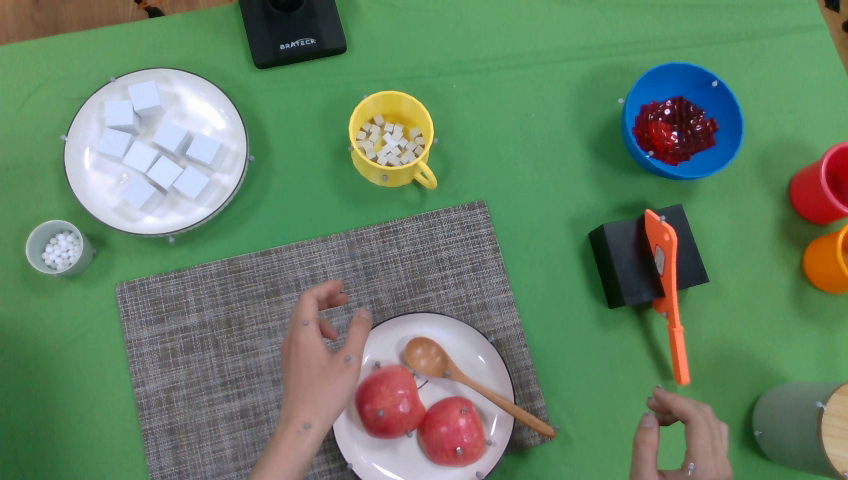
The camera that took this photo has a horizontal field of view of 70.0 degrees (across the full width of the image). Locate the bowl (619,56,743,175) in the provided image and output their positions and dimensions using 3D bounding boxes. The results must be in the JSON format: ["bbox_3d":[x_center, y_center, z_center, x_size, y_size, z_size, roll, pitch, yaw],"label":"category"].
[{"bbox_3d":[0.310,-0.146,0.768,0.151,0.077,0.150,1,79,-5],"label":"bowl"}]

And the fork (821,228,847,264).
[{"bbox_3d":[0.531,0.050,0.713,0.028,0.019,0.205,9,34,-10],"label":"fork"}]

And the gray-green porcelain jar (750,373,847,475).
[{"bbox_3d":[0.447,0.205,0.687,0.106,0.127,0.105,1,78,-5],"label":"gray-green porcelain jar"}]

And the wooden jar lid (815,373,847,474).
[{"bbox_3d":[0.452,0.191,0.627,0.108,0.021,0.108,1,81,-6],"label":"wooden jar lid"}]

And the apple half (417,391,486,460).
[{"bbox_3d":[0.032,0.211,0.681,0.081,0.033,0.081,1,76,-4],"label":"apple half"}]

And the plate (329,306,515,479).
[{"bbox_3d":[-0.003,0.180,0.690,0.209,0.038,0.208,1,79,-5],"label":"plate"}]

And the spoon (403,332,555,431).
[{"bbox_3d":[0.062,0.163,0.686,0.193,0.022,0.041,29,68,13],"label":"spoon"}]

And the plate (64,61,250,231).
[{"bbox_3d":[-0.311,-0.110,0.722,0.208,0.039,0.206,1,79,-5],"label":"plate"}]

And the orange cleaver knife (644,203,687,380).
[{"bbox_3d":[0.286,0.062,0.722,0.012,0.077,0.212,-12,104,-4],"label":"orange cleaver knife"}]

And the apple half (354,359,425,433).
[{"bbox_3d":[-0.040,0.175,0.672,0.075,0.053,0.080,-17,80,-6],"label":"apple half"}]

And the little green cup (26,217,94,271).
[{"bbox_3d":[-0.410,0.007,0.687,0.061,0.039,0.061,1,79,-6],"label":"little green cup"}]

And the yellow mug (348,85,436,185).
[{"bbox_3d":[-0.031,-0.117,0.736,0.100,0.064,0.130,-43,86,-12],"label":"yellow mug"}]
